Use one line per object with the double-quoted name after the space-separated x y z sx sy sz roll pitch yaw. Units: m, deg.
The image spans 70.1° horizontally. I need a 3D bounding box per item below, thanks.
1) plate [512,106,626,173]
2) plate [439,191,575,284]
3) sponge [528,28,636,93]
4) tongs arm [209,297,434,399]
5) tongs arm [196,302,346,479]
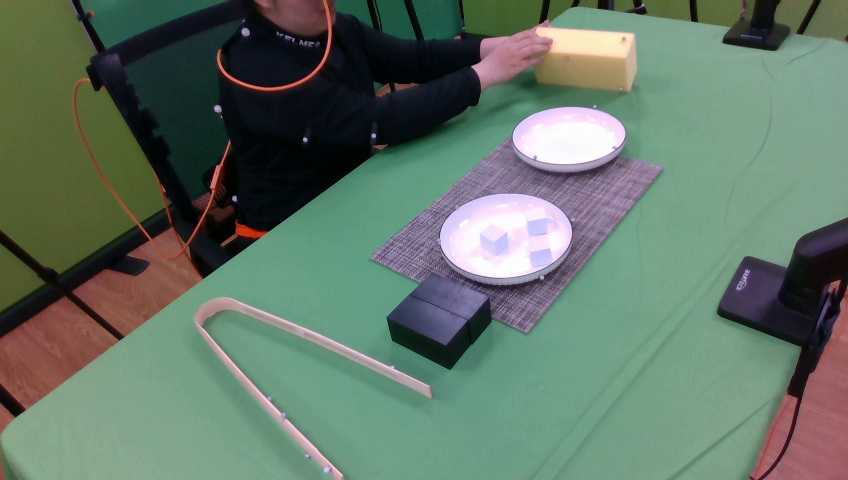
0.269 -0.185 1.132 0.209 0.038 0.208 -5 40 5 "plate"
0.129 -0.002 0.942 0.207 0.039 0.206 -5 40 5 "plate"
0.338 -0.383 1.287 0.205 0.119 0.061 14 73 28 "sponge"
-0.153 0.143 0.837 0.385 0.028 0.028 16 49 28 "tongs arm"
-0.206 0.185 0.791 0.381 0.026 0.051 28 51 37 "tongs arm"
